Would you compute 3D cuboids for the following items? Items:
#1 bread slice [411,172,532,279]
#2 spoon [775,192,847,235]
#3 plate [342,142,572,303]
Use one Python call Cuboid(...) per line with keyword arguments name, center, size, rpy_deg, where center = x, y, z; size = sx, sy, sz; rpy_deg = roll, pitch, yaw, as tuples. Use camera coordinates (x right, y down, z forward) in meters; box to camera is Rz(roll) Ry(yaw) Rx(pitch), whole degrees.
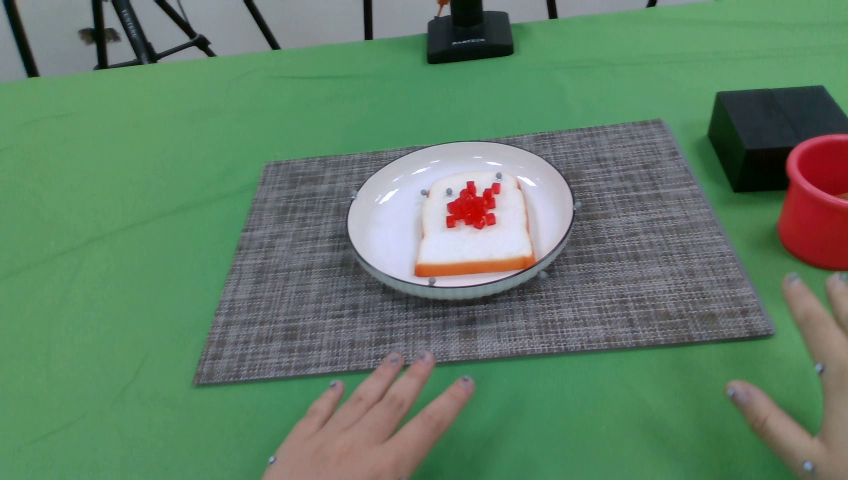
Cuboid(name="bread slice", center=(0.042, -0.017, 0.562), size=(0.105, 0.019, 0.130), rpy_deg=(-4, 44, 5))
Cuboid(name="spoon", center=(0.368, -0.048, 0.459), size=(0.022, 0.194, 0.041), rpy_deg=(42, 47, -13))
Cuboid(name="plate", center=(0.029, -0.017, 0.561), size=(0.209, 0.038, 0.207), rpy_deg=(-5, 43, 5))
